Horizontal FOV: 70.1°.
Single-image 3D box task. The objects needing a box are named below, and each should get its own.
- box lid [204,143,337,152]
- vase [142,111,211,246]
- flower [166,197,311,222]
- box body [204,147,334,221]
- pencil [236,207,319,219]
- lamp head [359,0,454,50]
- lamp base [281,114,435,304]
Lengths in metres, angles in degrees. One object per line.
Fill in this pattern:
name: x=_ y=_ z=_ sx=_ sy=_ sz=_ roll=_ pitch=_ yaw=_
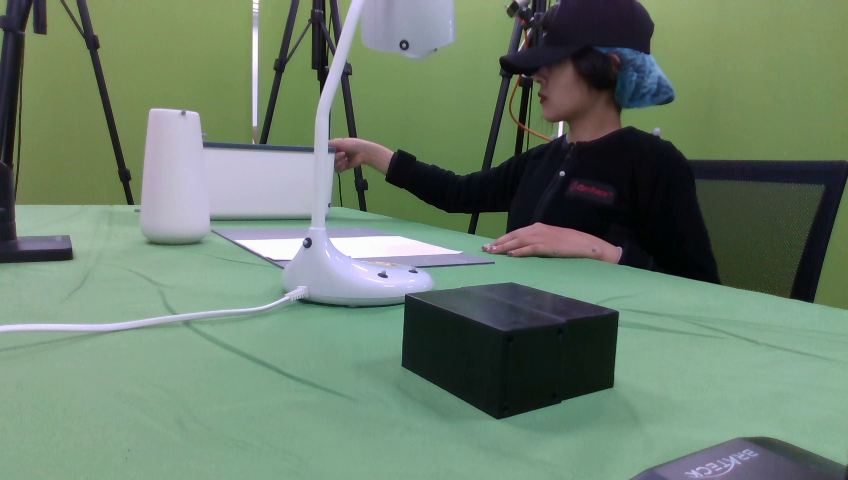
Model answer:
box lid: x=-0.407 y=-0.209 z=1.370 sx=0.373 sy=0.015 sz=0.262 roll=-3 pitch=9 yaw=-30
vase: x=-0.378 y=-0.093 z=0.920 sx=0.098 sy=0.200 sz=0.098 roll=2 pitch=9 yaw=0
flower: x=-0.397 y=-0.057 z=1.355 sx=0.044 sy=0.038 sz=0.364 roll=-36 pitch=-25 yaw=32
box body: x=-0.413 y=-0.134 z=1.379 sx=0.366 sy=0.160 sz=0.253 roll=-2 pitch=9 yaw=-31
pencil: x=-0.347 y=-0.063 z=1.437 sx=0.194 sy=0.012 sz=0.012 roll=7 pitch=7 yaw=-6
lamp head: x=-0.024 y=-0.283 z=0.674 sx=0.112 sy=0.123 sz=0.112 roll=-3 pitch=38 yaw=3
lamp base: x=-0.071 y=-0.035 z=0.614 sx=0.160 sy=0.180 sz=0.180 roll=6 pitch=10 yaw=27
